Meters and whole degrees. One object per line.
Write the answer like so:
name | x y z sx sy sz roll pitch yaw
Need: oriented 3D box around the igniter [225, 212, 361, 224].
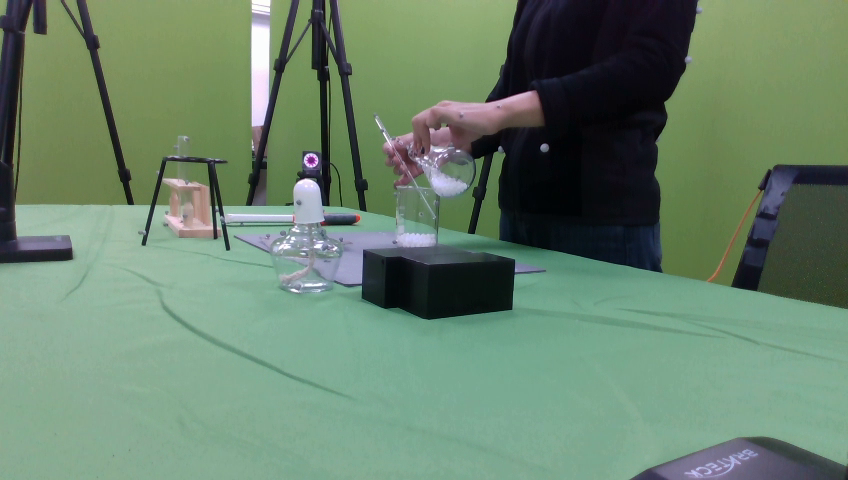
igniter | -0.262 -0.045 1.240 0.278 0.025 0.057 -2 -1 -31

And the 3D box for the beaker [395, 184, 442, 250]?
beaker | -0.009 -0.038 0.968 0.074 0.100 0.084 6 8 21

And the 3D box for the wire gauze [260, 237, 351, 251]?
wire gauze | -0.185 0.004 0.938 0.122 0.011 0.124 -1 5 -24

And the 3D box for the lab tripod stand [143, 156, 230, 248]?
lab tripod stand | -0.338 -0.058 0.908 0.148 0.131 0.148 4 7 0

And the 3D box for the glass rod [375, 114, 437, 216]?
glass rod | -0.030 -0.122 0.968 0.008 0.199 0.008 -29 -13 -7

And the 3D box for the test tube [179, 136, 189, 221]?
test tube | -0.425 -0.108 1.070 0.017 0.150 0.017 4 9 0

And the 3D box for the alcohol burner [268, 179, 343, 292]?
alcohol burner | -0.124 -0.005 0.637 0.078 0.119 0.078 4 8 0

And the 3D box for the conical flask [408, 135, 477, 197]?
conical flask | 0.019 -0.119 0.891 0.076 0.075 0.121 -2 28 -30

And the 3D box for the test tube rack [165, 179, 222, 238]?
test tube rack | -0.423 -0.062 1.098 0.067 0.085 0.241 -2 9 -28

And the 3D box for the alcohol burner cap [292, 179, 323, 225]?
alcohol burner cap | -0.124 -0.040 0.632 0.034 0.048 0.034 -3 10 1
